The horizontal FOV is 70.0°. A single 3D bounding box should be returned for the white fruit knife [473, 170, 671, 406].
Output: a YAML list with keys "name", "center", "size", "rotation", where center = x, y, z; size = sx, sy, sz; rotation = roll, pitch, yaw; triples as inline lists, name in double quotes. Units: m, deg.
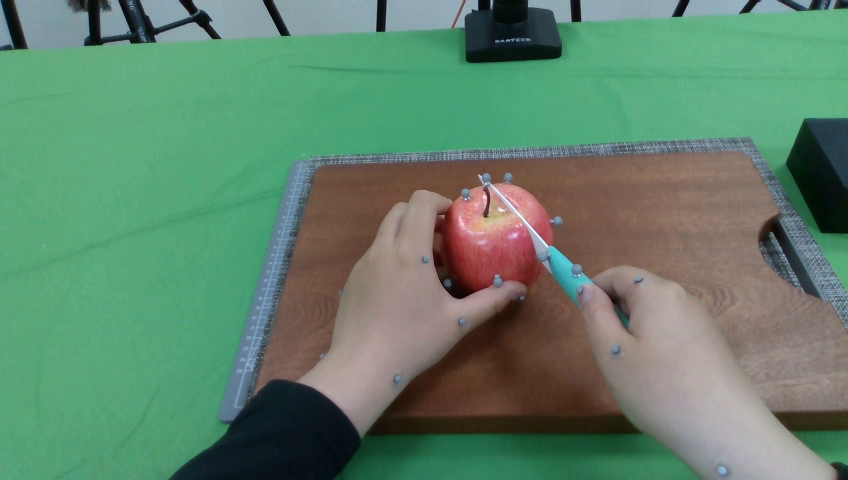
- name: "white fruit knife"
  center: [0.083, 0.016, 0.385]
  size: [0.016, 0.028, 0.205]
  rotation: [-25, 51, -13]

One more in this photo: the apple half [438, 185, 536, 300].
- name: "apple half"
  center: [0.038, 0.007, 0.434]
  size: [0.053, 0.075, 0.080]
  rotation: [-25, 51, -13]

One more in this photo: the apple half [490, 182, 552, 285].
- name: "apple half"
  center: [0.073, -0.007, 0.445]
  size: [0.033, 0.082, 0.080]
  rotation: [-24, 47, -15]
